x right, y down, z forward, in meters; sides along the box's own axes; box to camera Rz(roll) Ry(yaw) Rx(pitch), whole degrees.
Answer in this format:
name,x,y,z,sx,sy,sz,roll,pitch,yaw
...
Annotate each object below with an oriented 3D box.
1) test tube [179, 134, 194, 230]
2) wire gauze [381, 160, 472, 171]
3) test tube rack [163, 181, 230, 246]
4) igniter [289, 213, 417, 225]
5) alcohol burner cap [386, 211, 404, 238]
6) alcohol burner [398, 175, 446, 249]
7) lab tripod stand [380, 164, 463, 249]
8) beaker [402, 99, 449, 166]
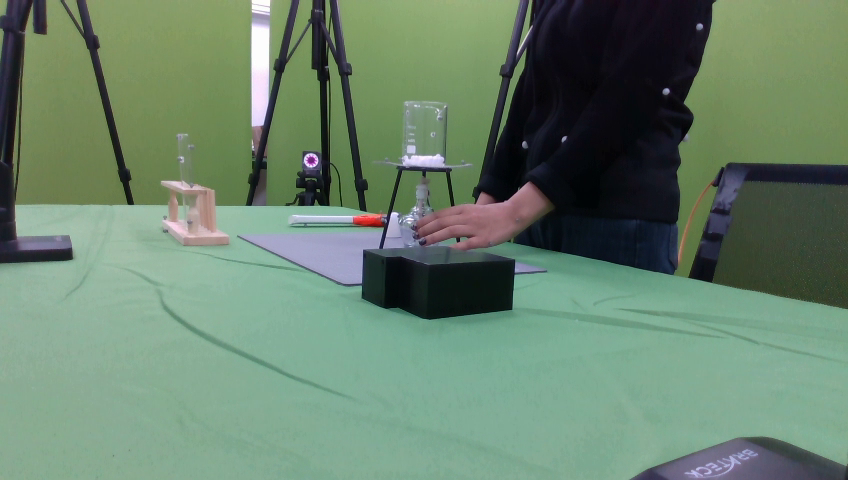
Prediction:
name,x,y,z,sx,sy,sz,roll,pitch,yaw
test tube,-0.366,-0.089,0.938,0.017,0.150,0.017,-1,9,1
wire gauze,-0.004,-0.120,0.959,0.122,0.011,0.124,-5,13,-33
test tube rack,-0.387,-0.050,1.016,0.067,0.085,0.241,-2,9,-30
igniter,-0.144,-0.044,1.275,0.278,0.025,0.057,-1,-2,-27
alcohol burner cap,-0.053,-0.029,1.107,0.034,0.048,0.034,2,9,0
alcohol burner,-0.002,-0.046,0.973,0.078,0.119,0.078,0,8,0
lab tripod stand,-0.003,-0.055,0.967,0.148,0.131,0.148,2,9,0
beaker,0.003,-0.168,0.957,0.073,0.100,0.084,9,11,35
